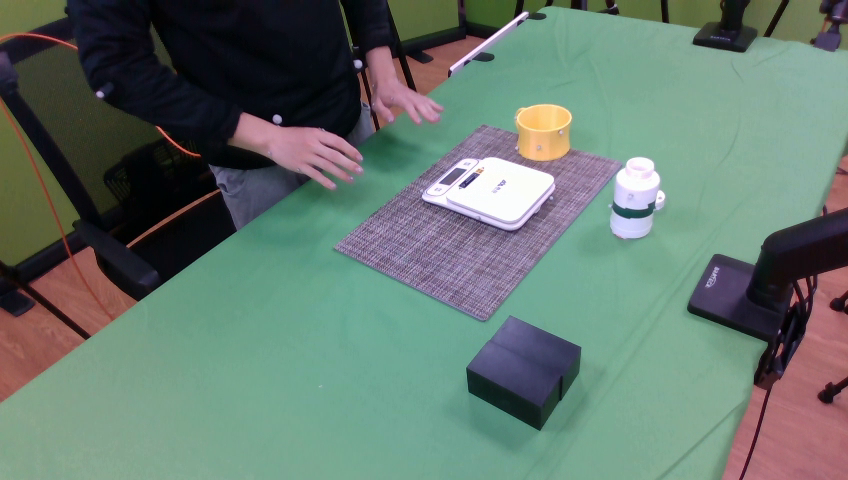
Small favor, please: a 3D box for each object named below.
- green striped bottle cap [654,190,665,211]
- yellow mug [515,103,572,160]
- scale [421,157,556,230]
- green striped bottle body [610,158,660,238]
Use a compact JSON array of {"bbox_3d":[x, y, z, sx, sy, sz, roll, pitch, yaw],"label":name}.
[{"bbox_3d":[0.375,-0.066,0.998,0.044,0.020,0.044,-8,38,7],"label":"green striped bottle cap"},{"bbox_3d":[0.216,-0.211,1.143,0.100,0.064,0.129,-27,44,-22],"label":"yellow mug"},{"bbox_3d":[0.110,-0.089,1.042,0.199,0.032,0.149,23,48,31],"label":"scale"},{"bbox_3d":[0.323,-0.066,0.924,0.063,0.120,0.063,-4,41,4],"label":"green striped bottle body"}]
